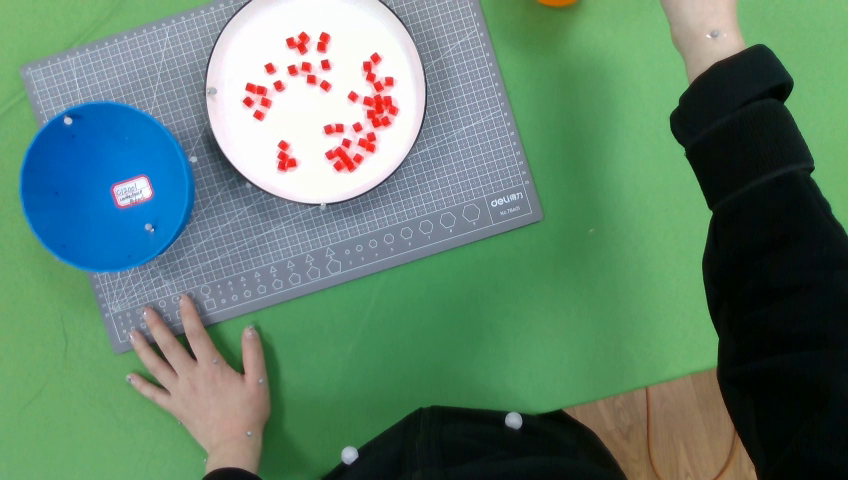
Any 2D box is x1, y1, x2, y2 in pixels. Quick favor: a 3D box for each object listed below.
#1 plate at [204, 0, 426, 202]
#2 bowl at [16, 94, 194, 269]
[{"bbox_3d":[-0.101,-0.141,0.577,0.209,0.038,0.209,0,93,1],"label":"plate"},{"bbox_3d":[-0.278,-0.051,0.563,0.151,0.077,0.151,0,93,0],"label":"bowl"}]
